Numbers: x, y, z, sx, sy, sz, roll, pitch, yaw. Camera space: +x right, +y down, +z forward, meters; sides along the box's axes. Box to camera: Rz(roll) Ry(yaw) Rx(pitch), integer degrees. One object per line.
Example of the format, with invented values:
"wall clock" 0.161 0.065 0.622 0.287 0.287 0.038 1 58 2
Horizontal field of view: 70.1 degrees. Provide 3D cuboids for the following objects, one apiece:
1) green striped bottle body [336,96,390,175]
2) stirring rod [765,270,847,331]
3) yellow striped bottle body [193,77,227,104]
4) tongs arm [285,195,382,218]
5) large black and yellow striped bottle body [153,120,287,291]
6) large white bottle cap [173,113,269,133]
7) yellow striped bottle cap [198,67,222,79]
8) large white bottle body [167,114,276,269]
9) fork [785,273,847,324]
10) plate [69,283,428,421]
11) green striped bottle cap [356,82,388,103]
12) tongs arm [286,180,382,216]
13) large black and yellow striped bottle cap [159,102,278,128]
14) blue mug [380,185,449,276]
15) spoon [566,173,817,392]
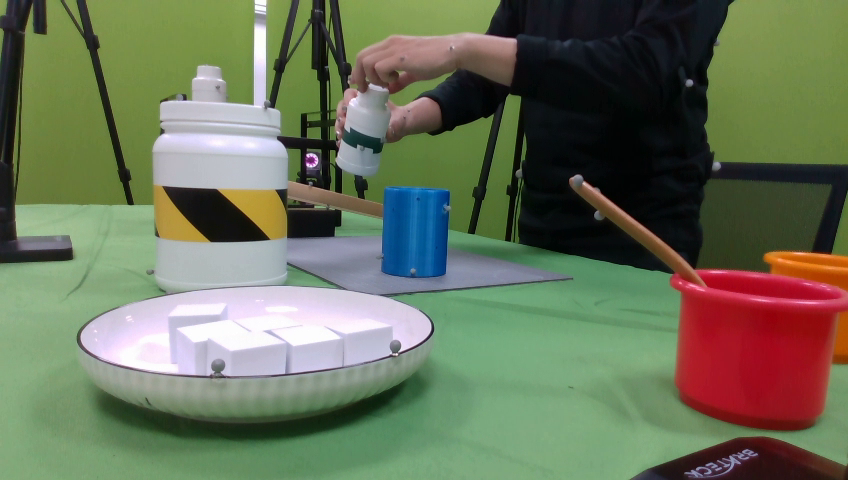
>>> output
"green striped bottle body" -0.088 -0.160 0.879 0.063 0.119 0.063 13 26 -6
"stirring rod" 0.352 0.020 0.484 0.176 0.006 0.014 -40 -7 12
"yellow striped bottle body" -0.414 -0.268 1.169 0.063 0.120 0.063 2 7 0
"tongs arm" -0.165 -0.074 1.216 0.389 0.027 0.028 11 -6 -24
"large black and yellow striped bottle body" -0.208 -0.042 0.626 0.131 0.184 0.130 2 7 0
"large white bottle cap" -0.254 -0.146 0.760 0.115 0.018 0.115 1 7 0
"yellow striped bottle cap" -0.411 -0.320 1.163 0.044 0.018 0.044 1 6 0
"large white bottle body" -0.257 -0.063 0.772 0.131 0.184 0.130 2 7 0
"fork" 0.332 0.018 0.444 0.028 0.018 0.207 -2 -35 -15
"plate" -0.102 0.066 0.380 0.208 0.039 0.207 2 7 0
"green striped bottle cap" -0.073 -0.208 0.853 0.044 0.020 0.044 13 23 -5
"tongs arm" -0.122 -0.066 1.147 0.387 0.026 0.050 11 -2 -37
"large black and yellow striped bottle cap" -0.207 -0.125 0.615 0.115 0.019 0.115 2 6 0
"blue mug" -0.019 -0.016 0.764 0.083 0.106 0.116 -1 8 -25
"spoon" 0.161 0.024 0.370 0.193 0.021 0.042 47 17 3
